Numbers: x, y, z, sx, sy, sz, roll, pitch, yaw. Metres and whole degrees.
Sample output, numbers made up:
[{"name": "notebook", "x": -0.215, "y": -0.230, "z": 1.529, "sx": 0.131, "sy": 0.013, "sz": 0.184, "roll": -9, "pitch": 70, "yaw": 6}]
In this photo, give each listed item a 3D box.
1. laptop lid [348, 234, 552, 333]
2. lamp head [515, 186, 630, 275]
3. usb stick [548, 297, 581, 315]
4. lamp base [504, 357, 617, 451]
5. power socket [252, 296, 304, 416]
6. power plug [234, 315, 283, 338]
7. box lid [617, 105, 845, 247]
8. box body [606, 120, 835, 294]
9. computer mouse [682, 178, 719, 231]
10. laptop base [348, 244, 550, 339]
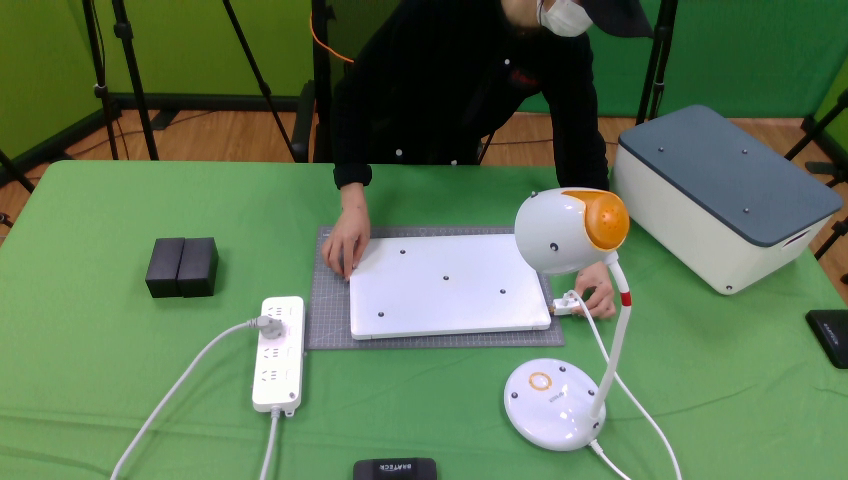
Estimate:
[{"name": "laptop lid", "x": 0.039, "y": 0.073, "z": 1.117, "sx": 0.357, "sy": 0.013, "sz": 0.240, "roll": -1, "pitch": 44, "yaw": -5}, {"name": "lamp head", "x": 0.188, "y": -0.013, "z": 0.728, "sx": 0.112, "sy": 0.112, "sz": 0.122, "roll": -25, "pitch": 9, "yaw": -25}, {"name": "usb stick", "x": 0.248, "y": 0.119, "z": 1.086, "sx": 0.059, "sy": 0.027, "sz": 0.021, "roll": -8, "pitch": 56, "yaw": -1}, {"name": "lamp base", "x": 0.220, "y": 0.211, "z": 0.903, "sx": 0.160, "sy": 0.181, "sz": 0.178, "roll": -33, "pitch": 59, "yaw": -30}, {"name": "power socket", "x": -0.238, "y": 0.181, "z": 0.997, "sx": 0.072, "sy": 0.033, "sz": 0.225, "roll": -3, "pitch": 47, "yaw": -5}, {"name": "power plug", "x": -0.269, "y": 0.143, "z": 1.000, "sx": 0.072, "sy": 0.053, "sz": 0.035, "roll": 4, "pitch": 47, "yaw": 3}, {"name": "box lid", "x": 0.586, "y": -0.138, "z": 1.176, "sx": 0.263, "sy": 0.015, "sz": 0.369, "roll": -22, "pitch": 51, "yaw": -23}, {"name": "box body", "x": 0.582, "y": -0.088, "z": 1.230, "sx": 0.254, "sy": 0.161, "sz": 0.361, "roll": -22, "pitch": 52, "yaw": -23}, {"name": "computer mouse", "x": 0.596, "y": -0.078, "z": 1.290, "sx": 0.117, "sy": 0.041, "sz": 0.062, "roll": 56, "pitch": 45, "yaw": -7}, {"name": "laptop base", "x": 0.038, "y": 0.082, "z": 1.124, "sx": 0.355, "sy": 0.023, "sz": 0.234, "roll": -2, "pitch": 43, "yaw": -6}]
